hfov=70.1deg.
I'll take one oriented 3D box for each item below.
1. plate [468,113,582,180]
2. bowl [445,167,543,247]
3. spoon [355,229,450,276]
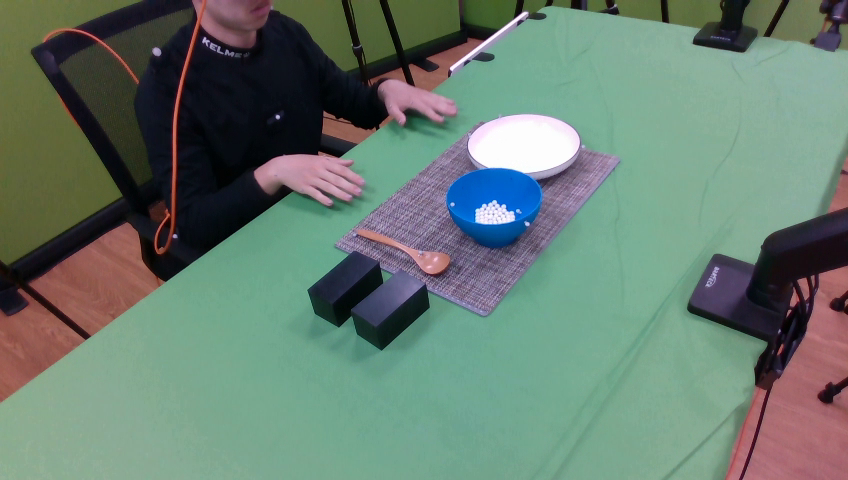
[{"bbox_3d":[0.186,-0.169,1.122,0.207,0.039,0.206,-4,40,4],"label":"plate"},{"bbox_3d":[0.111,-0.041,0.952,0.151,0.077,0.150,-4,41,4],"label":"bowl"},{"bbox_3d":[-0.038,0.013,0.953,0.192,0.022,0.041,24,67,31],"label":"spoon"}]
